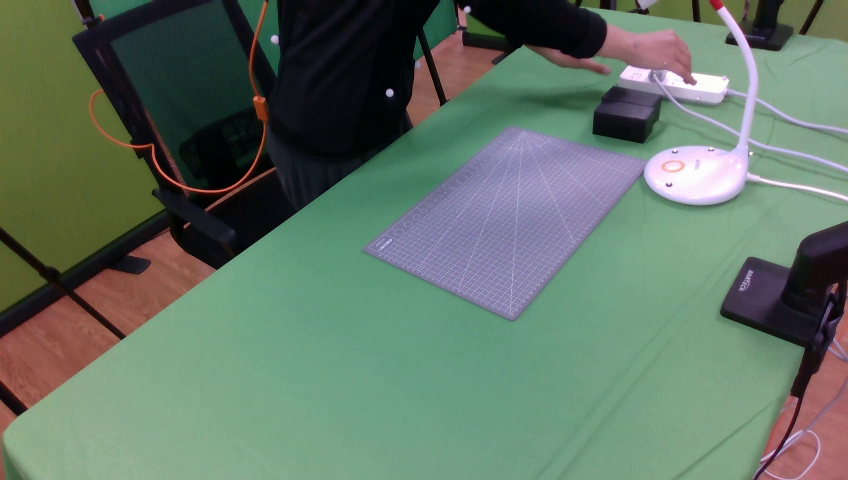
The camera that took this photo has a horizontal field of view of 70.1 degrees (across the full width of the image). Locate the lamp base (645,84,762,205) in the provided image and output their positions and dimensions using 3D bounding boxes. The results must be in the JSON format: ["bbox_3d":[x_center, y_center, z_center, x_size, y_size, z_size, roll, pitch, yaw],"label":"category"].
[{"bbox_3d":[0.461,-0.170,0.975,0.179,0.181,0.160,3,41,11],"label":"lamp base"}]

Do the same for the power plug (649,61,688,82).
[{"bbox_3d":[0.504,-0.341,1.249,0.072,0.053,0.035,4,59,8],"label":"power plug"}]

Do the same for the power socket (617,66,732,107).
[{"bbox_3d":[0.517,-0.322,1.259,0.225,0.033,0.072,19,49,29],"label":"power socket"}]

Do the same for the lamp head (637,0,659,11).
[{"bbox_3d":[0.330,-0.391,0.828,0.122,0.113,0.112,-21,35,25],"label":"lamp head"}]
